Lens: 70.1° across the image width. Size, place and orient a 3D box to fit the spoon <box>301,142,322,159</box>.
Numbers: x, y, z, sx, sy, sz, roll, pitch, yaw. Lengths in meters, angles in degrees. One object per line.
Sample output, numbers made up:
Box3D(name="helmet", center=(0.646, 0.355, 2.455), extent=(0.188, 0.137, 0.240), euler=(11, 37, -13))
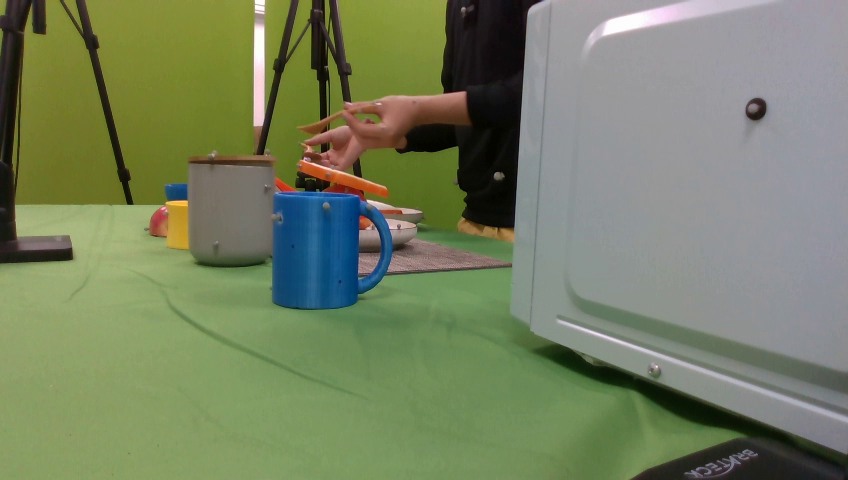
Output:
Box3D(name="spoon", center=(-0.240, -0.191, 1.261), extent=(0.042, 0.021, 0.193), euler=(14, 13, -19))

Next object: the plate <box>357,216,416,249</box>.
Box3D(name="plate", center=(-0.116, -0.014, 0.967), extent=(0.208, 0.039, 0.207), euler=(2, 7, 0))

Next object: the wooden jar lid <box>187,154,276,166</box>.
Box3D(name="wooden jar lid", center=(-0.244, -0.097, 0.771), extent=(0.108, 0.020, 0.108), euler=(-1, 7, 0))

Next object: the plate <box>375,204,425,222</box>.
Box3D(name="plate", center=(-0.102, -0.053, 1.299), extent=(0.209, 0.038, 0.209), euler=(2, 7, 0))

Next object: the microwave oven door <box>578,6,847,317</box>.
Box3D(name="microwave oven door", center=(0.294, -0.067, 0.570), extent=(0.358, 0.243, 0.039), euler=(-3, 9, -31))

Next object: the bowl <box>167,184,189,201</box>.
Box3D(name="bowl", center=(-0.408, -0.064, 1.154), extent=(0.151, 0.077, 0.151), euler=(2, 8, 0))

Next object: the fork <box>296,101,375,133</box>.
Box3D(name="fork", center=(-0.154, -0.209, 1.031), extent=(0.206, 0.018, 0.028), euler=(-10, -26, 43))

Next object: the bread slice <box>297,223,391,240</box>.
Box3D(name="bread slice", center=(-0.121, -0.015, 0.970), extent=(0.106, 0.018, 0.135), euler=(9, 8, 41))

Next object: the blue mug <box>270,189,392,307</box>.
Box3D(name="blue mug", center=(-0.090, 0.005, 0.588), extent=(0.117, 0.106, 0.082), euler=(1, 7, -10))

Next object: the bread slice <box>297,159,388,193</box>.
Box3D(name="bread slice", center=(-0.132, -0.102, 0.952), extent=(0.132, 0.019, 0.104), euler=(12, 6, -36))

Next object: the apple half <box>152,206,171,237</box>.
Box3D(name="apple half", center=(-0.415, -0.034, 1.017), extent=(0.081, 0.053, 0.074), euler=(1, 10, -9))

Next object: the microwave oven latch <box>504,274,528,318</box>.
Box3D(name="microwave oven latch", center=(0.100, 0.041, 0.470), extent=(0.079, 0.029, 0.030), euler=(-1, 7, -27))

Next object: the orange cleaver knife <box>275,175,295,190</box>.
Box3D(name="orange cleaver knife", center=(-0.283, -0.086, 1.343), extent=(0.212, 0.077, 0.012), euler=(24, -16, -41))

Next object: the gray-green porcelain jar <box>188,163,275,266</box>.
Box3D(name="gray-green porcelain jar", center=(-0.246, -0.034, 0.780), extent=(0.106, 0.126, 0.106), euler=(2, 7, 0))

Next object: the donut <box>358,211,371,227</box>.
Box3D(name="donut", center=(-0.129, -0.042, 0.956), extent=(0.099, 0.048, 0.099), euler=(2, 7, 0))

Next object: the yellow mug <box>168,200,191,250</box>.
Box3D(name="yellow mug", center=(-0.320, -0.022, 0.904), extent=(0.130, 0.064, 0.100), euler=(9, 10, 36))

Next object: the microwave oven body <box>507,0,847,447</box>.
Box3D(name="microwave oven body", center=(0.331, -0.042, 0.425), extent=(0.444, 0.260, 0.324), euler=(-2, 8, -31))
